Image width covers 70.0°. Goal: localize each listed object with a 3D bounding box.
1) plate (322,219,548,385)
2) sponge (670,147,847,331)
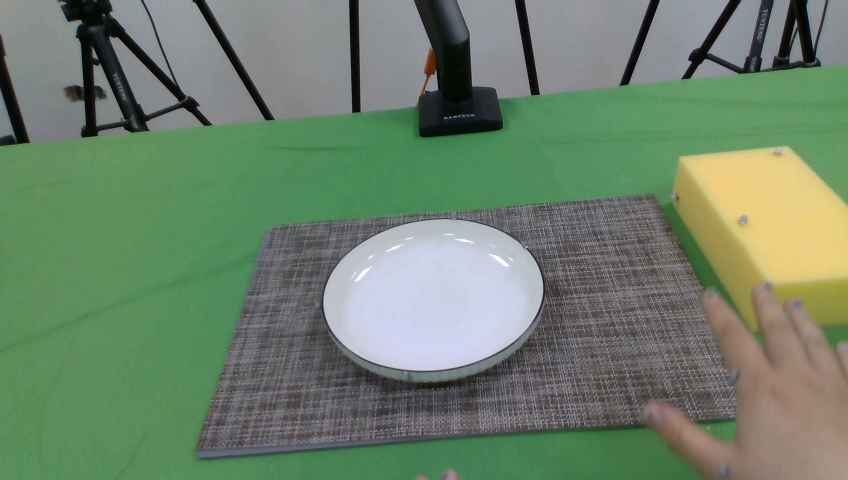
[{"bbox_3d":[0.011,0.057,0.570,0.207,0.039,0.205,-4,38,4],"label":"plate"},{"bbox_3d":[0.338,-0.010,0.589,0.118,0.061,0.204,-6,38,1],"label":"sponge"}]
